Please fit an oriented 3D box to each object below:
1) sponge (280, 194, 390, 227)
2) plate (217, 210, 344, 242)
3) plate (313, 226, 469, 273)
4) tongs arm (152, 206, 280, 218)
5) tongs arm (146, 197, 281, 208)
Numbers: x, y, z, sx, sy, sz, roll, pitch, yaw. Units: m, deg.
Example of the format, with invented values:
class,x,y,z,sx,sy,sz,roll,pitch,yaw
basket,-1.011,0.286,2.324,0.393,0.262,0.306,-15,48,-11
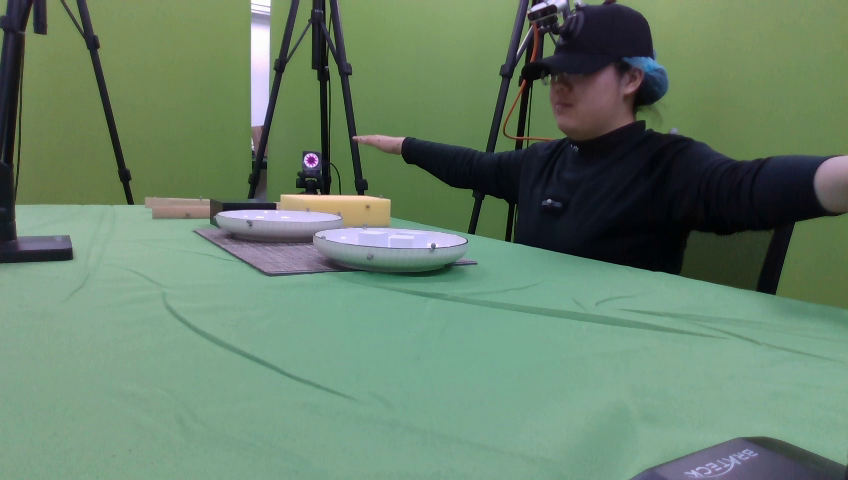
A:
class,x,y,z,sx,sy,sz,roll,pitch,yaw
sponge,-0.188,-0.064,1.291,0.208,0.061,0.117,-2,9,-35
plate,-0.241,-0.024,1.026,0.208,0.039,0.207,3,7,0
plate,-0.044,0.012,0.807,0.209,0.038,0.209,2,7,0
tongs arm,-0.397,-0.064,1.345,0.390,0.028,0.028,-3,7,-38
tongs arm,-0.437,-0.079,1.415,0.387,0.026,0.050,1,8,-25
